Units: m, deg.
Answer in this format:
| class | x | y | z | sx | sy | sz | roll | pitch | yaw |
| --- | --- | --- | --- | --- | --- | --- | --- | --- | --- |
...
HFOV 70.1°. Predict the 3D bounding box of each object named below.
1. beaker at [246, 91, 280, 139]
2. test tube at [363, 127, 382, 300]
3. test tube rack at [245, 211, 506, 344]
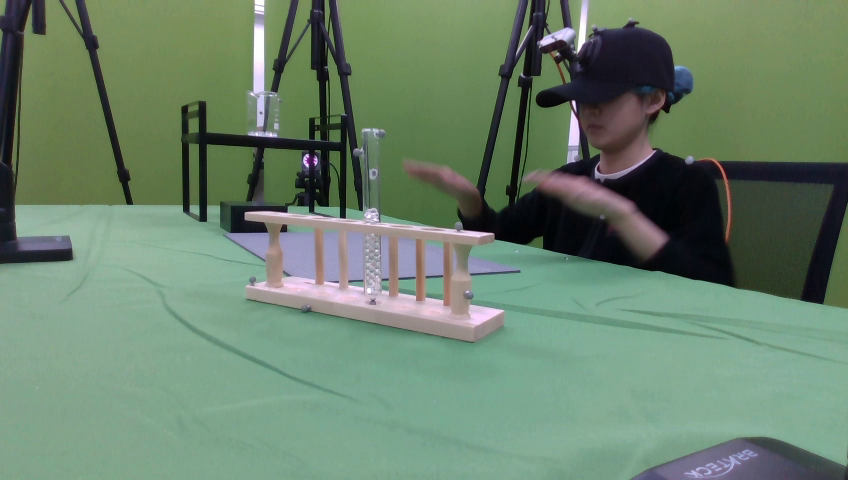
| class | x | y | z | sx | sy | sz | roll | pitch | yaw |
| --- | --- | --- | --- | --- | --- | --- | --- | --- | --- |
| beaker | -0.361 | -0.279 | 1.351 | 0.074 | 0.100 | 0.084 | 3 | 8 | 1 |
| test tube | -0.044 | -0.022 | 0.524 | 0.017 | 0.150 | 0.017 | 0 | 6 | 0 |
| test tube rack | -0.049 | 0.025 | 0.547 | 0.241 | 0.085 | 0.067 | 7 | 8 | 28 |
